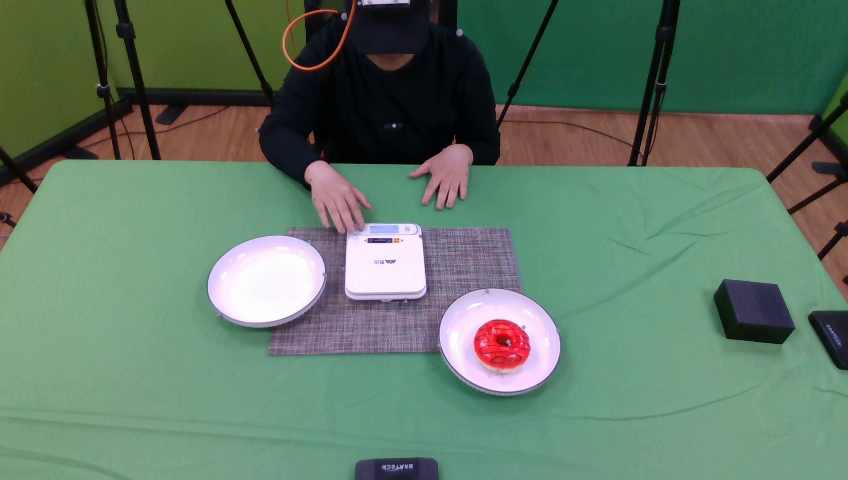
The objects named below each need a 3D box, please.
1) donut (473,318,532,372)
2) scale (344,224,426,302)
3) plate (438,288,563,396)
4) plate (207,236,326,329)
[{"bbox_3d":[0.131,0.174,1.010,0.099,0.048,0.098,1,48,-1],"label":"donut"},{"bbox_3d":[-0.075,0.033,1.149,0.149,0.032,0.199,0,45,-5],"label":"scale"},{"bbox_3d":[0.127,0.173,1.025,0.209,0.038,0.208,3,48,-3],"label":"plate"},{"bbox_3d":[-0.278,0.078,1.088,0.208,0.039,0.206,1,46,0],"label":"plate"}]
